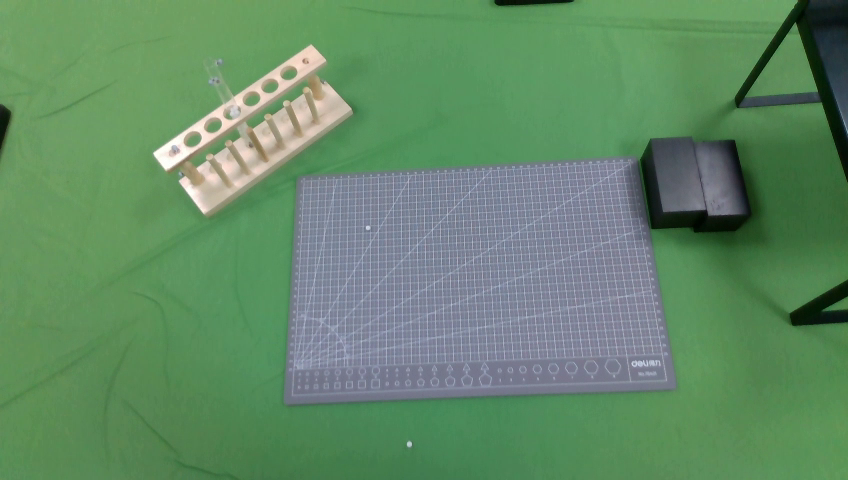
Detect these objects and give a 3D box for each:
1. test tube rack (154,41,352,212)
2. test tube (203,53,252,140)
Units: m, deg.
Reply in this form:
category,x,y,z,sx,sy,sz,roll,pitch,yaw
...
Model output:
category,x,y,z,sx,sy,sz,roll,pitch,yaw
test tube rack,-0.216,-0.148,0.795,0.242,0.086,0.066,-38,71,-10
test tube,-0.240,-0.173,0.753,0.017,0.151,0.017,-1,63,3
